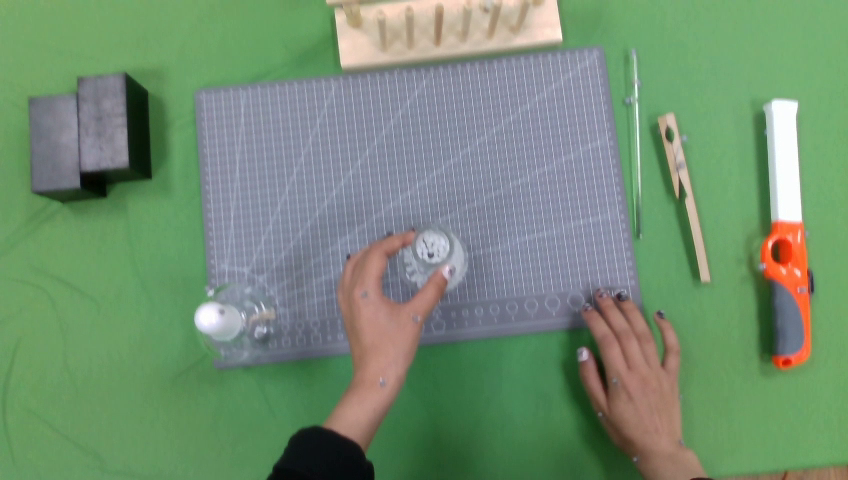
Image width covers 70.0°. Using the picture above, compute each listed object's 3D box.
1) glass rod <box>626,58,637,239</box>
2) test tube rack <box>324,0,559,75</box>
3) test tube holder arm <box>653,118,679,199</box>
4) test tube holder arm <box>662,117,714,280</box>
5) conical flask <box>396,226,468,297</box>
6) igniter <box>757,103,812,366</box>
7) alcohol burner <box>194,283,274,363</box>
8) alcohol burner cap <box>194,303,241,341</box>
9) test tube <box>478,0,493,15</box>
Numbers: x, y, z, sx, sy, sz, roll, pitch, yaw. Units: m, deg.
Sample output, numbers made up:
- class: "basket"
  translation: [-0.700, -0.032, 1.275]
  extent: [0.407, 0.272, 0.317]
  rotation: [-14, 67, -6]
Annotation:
- class: "glass rod"
  translation: [0.225, -0.100, 0.655]
  extent: [0.008, 0.008, 0.199]
  rotation: [0, 85, 0]
- class: "test tube rack"
  translation: [0.023, -0.235, 0.635]
  extent: [0.242, 0.085, 0.066]
  rotation: [-7, 82, -1]
- class: "test tube holder arm"
  translation: [0.263, -0.087, 0.650]
  extent: [0.010, 0.015, 0.087]
  rotation: [-18, 82, 35]
- class: "test tube holder arm"
  translation: [0.278, -0.045, 0.642]
  extent: [0.013, 0.015, 0.178]
  rotation: [-19, 81, 35]
- class: "conical flask"
  translation: [0.007, 0.015, 0.583]
  extent: [0.075, 0.122, 0.075]
  rotation: [0, 82, 1]
- class: "igniter"
  translation: [0.375, -0.008, 0.634]
  extent: [0.057, 0.025, 0.275]
  rotation: [2, 83, -9]
- class: "alcohol burner"
  translation: [-0.187, 0.079, 0.580]
  extent: [0.078, 0.119, 0.077]
  rotation: [0, 81, 2]
- class: "alcohol burner cap"
  translation: [-0.188, 0.072, 0.545]
  extent: [0.034, 0.048, 0.033]
  rotation: [0, 74, 2]
- class: "test tube"
  translation: [0.064, -0.268, 0.589]
  extent: [0.017, 0.151, 0.017]
  rotation: [0, 77, 2]
